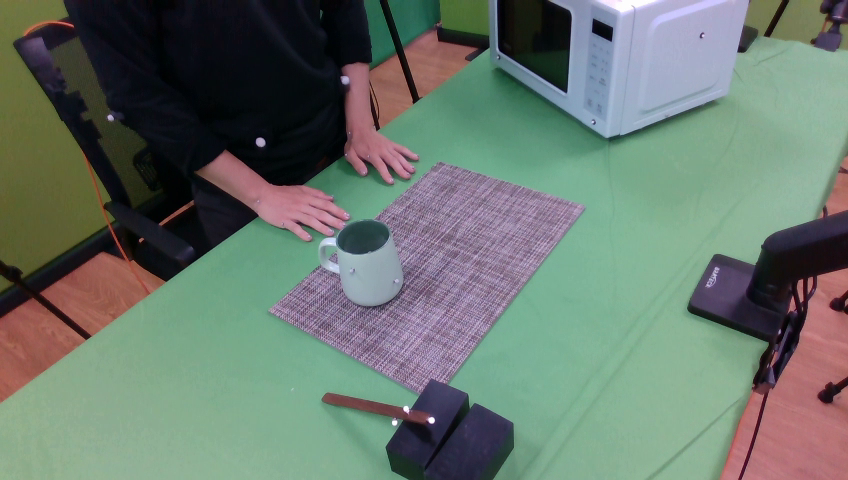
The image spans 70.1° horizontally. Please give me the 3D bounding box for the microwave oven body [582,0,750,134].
[{"bbox_3d":[0.382,-0.445,1.246,0.327,0.261,0.437,-22,42,-16],"label":"microwave oven body"}]

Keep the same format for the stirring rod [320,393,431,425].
[{"bbox_3d":[-0.061,0.198,0.712,0.175,0.006,0.014,-2,37,39],"label":"stirring rod"}]

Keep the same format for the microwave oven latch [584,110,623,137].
[{"bbox_3d":[0.337,-0.222,1.142,0.030,0.029,0.078,-21,42,-14],"label":"microwave oven latch"}]

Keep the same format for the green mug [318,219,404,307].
[{"bbox_3d":[-0.096,0.032,0.876,0.125,0.105,0.092,8,43,17],"label":"green mug"}]

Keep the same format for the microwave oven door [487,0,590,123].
[{"bbox_3d":[0.232,-0.420,1.231,0.039,0.245,0.352,-22,43,-16],"label":"microwave oven door"}]
